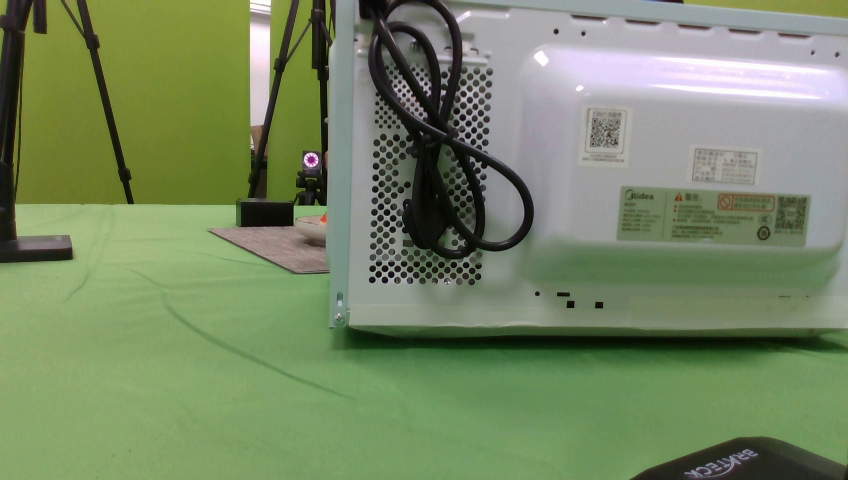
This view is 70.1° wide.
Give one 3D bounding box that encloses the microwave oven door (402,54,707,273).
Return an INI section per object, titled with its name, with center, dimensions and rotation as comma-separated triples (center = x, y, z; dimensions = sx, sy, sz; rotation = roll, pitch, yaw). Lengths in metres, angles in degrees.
[microwave oven door]
center = 0.157, -0.085, 0.717
dimensions = 0.357, 0.243, 0.039
rotation = 1, 8, -8

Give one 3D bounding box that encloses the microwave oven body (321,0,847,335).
[microwave oven body]
center = 0.133, -0.062, 0.568
dimensions = 0.443, 0.260, 0.325
rotation = 2, 7, -8

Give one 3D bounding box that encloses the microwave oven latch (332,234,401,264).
[microwave oven latch]
center = -0.066, 0.010, 0.700
dimensions = 0.079, 0.029, 0.030
rotation = 2, 7, -7

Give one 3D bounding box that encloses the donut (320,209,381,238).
[donut]
center = -0.121, -0.027, 0.995
dimensions = 0.099, 0.048, 0.099
rotation = 2, 4, 0

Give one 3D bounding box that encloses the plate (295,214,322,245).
[plate]
center = -0.107, -0.016, 0.997
dimensions = 0.209, 0.038, 0.209
rotation = 2, 7, 0
